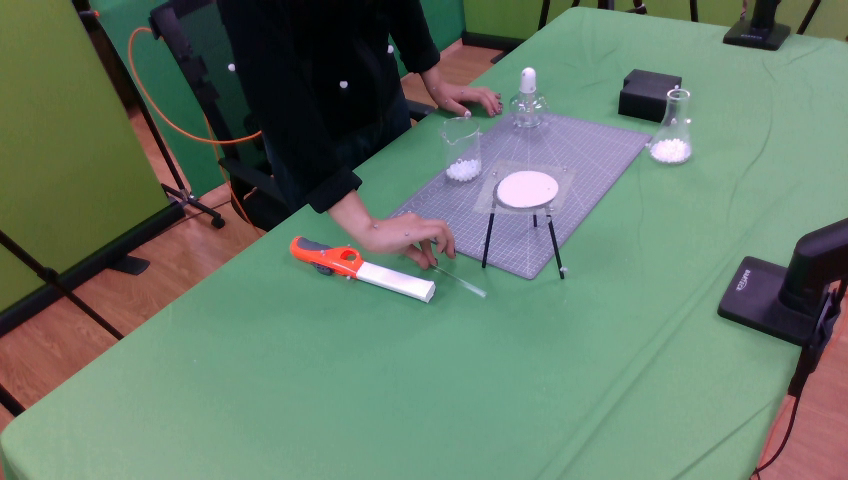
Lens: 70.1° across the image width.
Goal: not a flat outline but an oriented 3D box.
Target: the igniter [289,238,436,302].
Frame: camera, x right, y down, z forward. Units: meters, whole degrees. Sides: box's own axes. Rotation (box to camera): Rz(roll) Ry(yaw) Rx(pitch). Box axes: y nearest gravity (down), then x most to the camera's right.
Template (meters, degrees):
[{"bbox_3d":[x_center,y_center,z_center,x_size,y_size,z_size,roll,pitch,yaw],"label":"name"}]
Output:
[{"bbox_3d":[-0.106,0.043,0.949,0.274,0.025,0.057,16,56,27],"label":"igniter"}]

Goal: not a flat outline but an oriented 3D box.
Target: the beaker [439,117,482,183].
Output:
[{"bbox_3d":[0.068,-0.160,1.097,0.073,0.101,0.084,7,43,19],"label":"beaker"}]

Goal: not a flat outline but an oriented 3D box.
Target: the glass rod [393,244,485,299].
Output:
[{"bbox_3d":[0.019,0.046,0.936,0.198,0.008,0.008,29,54,37],"label":"glass rod"}]

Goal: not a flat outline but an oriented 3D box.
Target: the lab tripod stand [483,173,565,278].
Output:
[{"bbox_3d":[0.151,-0.025,0.896,0.148,0.132,0.147,-7,40,6],"label":"lab tripod stand"}]

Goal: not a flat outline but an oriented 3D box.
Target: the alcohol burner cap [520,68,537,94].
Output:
[{"bbox_3d":[0.205,-0.313,1.183,0.034,0.048,0.033,-3,50,4],"label":"alcohol burner cap"}]

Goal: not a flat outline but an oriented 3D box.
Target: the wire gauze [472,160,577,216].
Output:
[{"bbox_3d":[0.143,-0.073,0.850,0.121,0.011,0.125,8,43,22],"label":"wire gauze"}]

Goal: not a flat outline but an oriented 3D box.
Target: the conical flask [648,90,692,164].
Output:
[{"bbox_3d":[0.437,-0.199,1.057,0.075,0.122,0.075,-5,40,5],"label":"conical flask"}]

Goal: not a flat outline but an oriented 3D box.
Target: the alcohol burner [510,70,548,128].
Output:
[{"bbox_3d":[0.209,-0.287,1.208,0.078,0.119,0.077,-5,42,5],"label":"alcohol burner"}]
